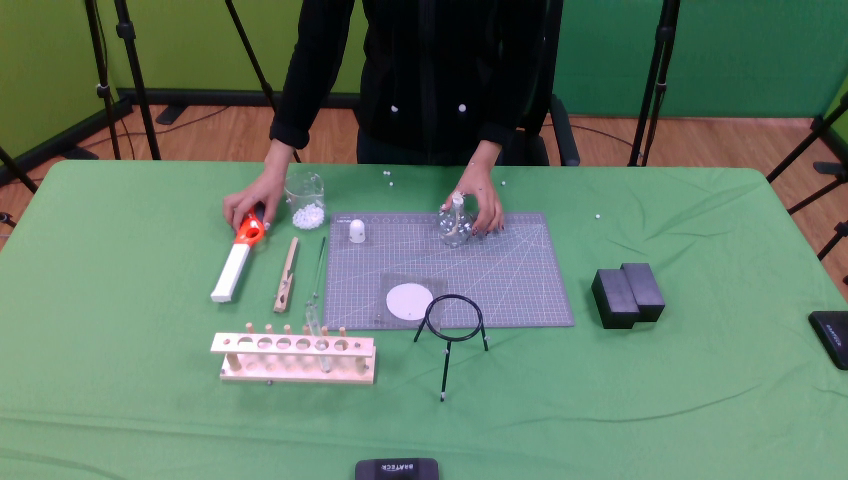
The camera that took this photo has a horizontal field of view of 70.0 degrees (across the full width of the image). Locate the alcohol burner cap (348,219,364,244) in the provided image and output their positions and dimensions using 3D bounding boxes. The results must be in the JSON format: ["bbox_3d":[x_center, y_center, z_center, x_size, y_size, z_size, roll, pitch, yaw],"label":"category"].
[{"bbox_3d":[-0.134,-0.019,1.190,0.034,0.048,0.033,2,46,-2],"label":"alcohol burner cap"}]

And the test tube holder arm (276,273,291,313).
[{"bbox_3d":[-0.254,0.093,1.094,0.010,0.015,0.087,28,39,-26],"label":"test tube holder arm"}]

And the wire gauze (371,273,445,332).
[{"bbox_3d":[-0.028,0.108,1.100,0.125,0.011,0.121,7,45,4],"label":"wire gauze"}]

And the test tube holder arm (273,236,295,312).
[{"bbox_3d":[-0.259,0.059,1.122,0.013,0.015,0.177,27,39,-27],"label":"test tube holder arm"}]

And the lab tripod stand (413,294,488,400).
[{"bbox_3d":[0.044,0.159,0.972,0.148,0.132,0.147,2,44,-2],"label":"lab tripod stand"}]

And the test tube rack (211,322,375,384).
[{"bbox_3d":[-0.203,0.176,0.969,0.242,0.085,0.066,3,46,-2],"label":"test tube rack"}]

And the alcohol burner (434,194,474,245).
[{"bbox_3d":[0.061,-0.046,1.182,0.078,0.119,0.077,3,46,-3],"label":"alcohol burner"}]

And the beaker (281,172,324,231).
[{"bbox_3d":[-0.234,-0.073,1.199,0.084,0.101,0.074,24,50,17],"label":"beaker"}]

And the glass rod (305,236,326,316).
[{"bbox_3d":[-0.202,0.063,1.131,0.008,0.008,0.198,4,44,0],"label":"glass rod"}]

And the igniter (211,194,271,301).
[{"bbox_3d":[-0.344,0.005,1.155,0.057,0.025,0.275,1,45,6],"label":"igniter"}]

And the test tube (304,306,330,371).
[{"bbox_3d":[-0.162,0.153,0.925,0.017,0.151,0.017,-2,44,2],"label":"test tube"}]
